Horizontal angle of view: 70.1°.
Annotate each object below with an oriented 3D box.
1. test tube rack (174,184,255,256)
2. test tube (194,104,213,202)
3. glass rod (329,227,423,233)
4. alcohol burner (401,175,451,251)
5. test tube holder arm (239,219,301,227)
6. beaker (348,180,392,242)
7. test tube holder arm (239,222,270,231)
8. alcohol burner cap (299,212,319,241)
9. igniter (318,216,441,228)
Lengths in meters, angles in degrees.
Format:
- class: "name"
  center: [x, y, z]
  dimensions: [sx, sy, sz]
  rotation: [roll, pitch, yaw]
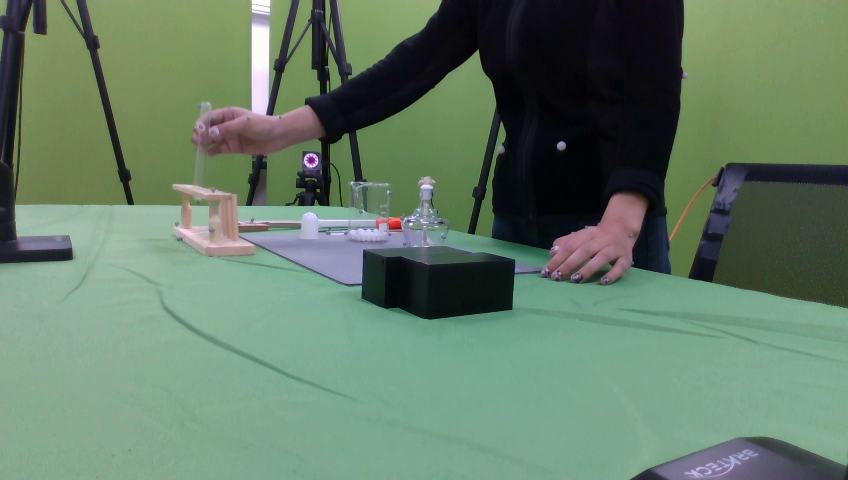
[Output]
- class: "test tube rack"
  center: [-0.327, -0.036, 0.928]
  dimensions: [0.067, 0.085, 0.241]
  rotation: [-2, 9, -32]
- class: "test tube"
  center: [-0.339, -0.133, 0.929]
  dimensions: [0.017, 0.150, 0.017]
  rotation: [5, 0, 0]
- class: "glass rod"
  center: [-0.087, -0.019, 1.148]
  dimensions: [0.201, 0.008, 0.008]
  rotation: [-3, 8, -32]
- class: "alcohol burner"
  center: [0.003, -0.042, 0.947]
  dimensions: [0.078, 0.119, 0.078]
  rotation: [1, 9, 0]
- class: "test tube holder arm"
  center: [-0.296, -0.030, 1.137]
  dimensions: [0.179, 0.015, 0.013]
  rotation: [-6, 45, -50]
- class: "beaker"
  center: [-0.095, -0.049, 1.027]
  dimensions: [0.074, 0.100, 0.084]
  rotation: [5, 9, 25]
- class: "test tube holder arm"
  center: [-0.322, -0.024, 1.100]
  dimensions: [0.088, 0.015, 0.010]
  rotation: [-4, 44, -49]
- class: "alcohol burner cap"
  center: [-0.195, -0.024, 1.025]
  dimensions: [0.034, 0.048, 0.034]
  rotation: [3, 7, 0]
- class: "igniter"
  center: [-0.090, -0.035, 1.223]
  dimensions: [0.278, 0.025, 0.057]
  rotation: [-2, -2, -31]
